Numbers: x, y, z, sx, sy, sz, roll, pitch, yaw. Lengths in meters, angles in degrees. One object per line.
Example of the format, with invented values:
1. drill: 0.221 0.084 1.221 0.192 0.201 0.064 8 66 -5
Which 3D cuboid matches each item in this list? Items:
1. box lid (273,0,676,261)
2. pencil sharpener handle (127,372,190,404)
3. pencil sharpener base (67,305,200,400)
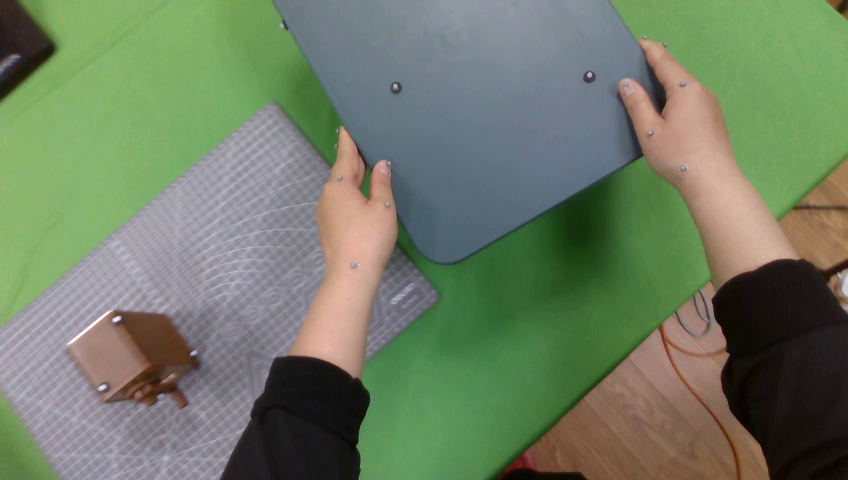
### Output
1. box lid: 0.027 -0.194 0.554 0.263 0.015 0.370 -30 82 1
2. pencil sharpener handle: -0.258 0.151 0.598 0.036 0.068 0.030 -40 80 3
3. pencil sharpener base: -0.290 0.115 0.618 0.061 0.107 0.076 -39 80 -2
